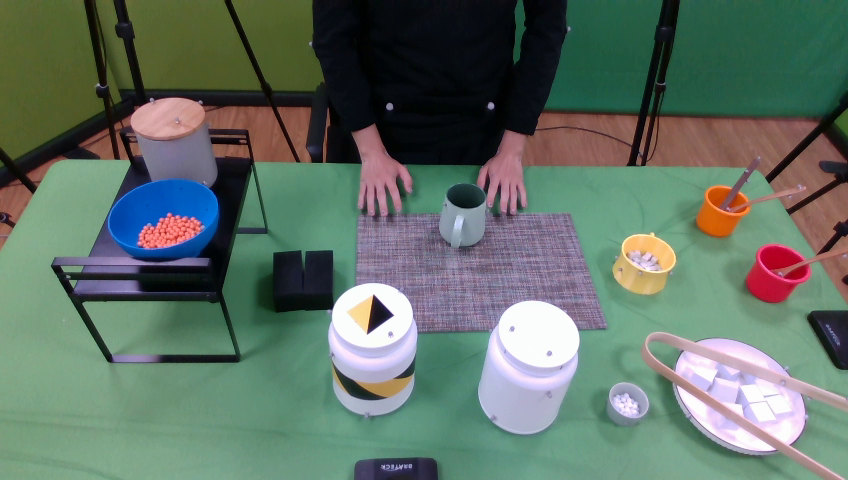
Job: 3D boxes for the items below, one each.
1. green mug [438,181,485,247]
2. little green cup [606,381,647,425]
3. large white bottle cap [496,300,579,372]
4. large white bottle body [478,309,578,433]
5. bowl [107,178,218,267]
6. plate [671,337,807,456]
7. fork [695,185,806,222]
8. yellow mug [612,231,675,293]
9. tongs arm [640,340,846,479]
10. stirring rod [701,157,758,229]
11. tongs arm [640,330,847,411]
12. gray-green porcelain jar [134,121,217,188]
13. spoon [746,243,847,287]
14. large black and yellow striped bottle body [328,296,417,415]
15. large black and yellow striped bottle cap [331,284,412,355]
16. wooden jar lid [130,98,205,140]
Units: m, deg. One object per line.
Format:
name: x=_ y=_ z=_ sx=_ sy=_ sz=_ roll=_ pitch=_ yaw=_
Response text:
green mug: x=0.071 y=-0.040 z=1.177 sx=0.092 sy=0.105 sz=0.124 roll=12 pitch=47 yaw=7
little green cup: x=0.319 y=0.261 z=0.962 sx=0.061 sy=0.039 sz=0.061 roll=2 pitch=45 yaw=-2
large white bottle cap: x=0.160 y=0.133 z=0.852 sx=0.115 sy=0.018 sz=0.114 roll=3 pitch=46 yaw=-2
large white bottle body: x=0.156 y=0.192 z=0.913 sx=0.131 sy=0.185 sz=0.130 roll=2 pitch=46 yaw=-2
bowl: x=-0.374 y=-0.014 z=0.893 sx=0.151 sy=0.077 sz=0.150 roll=2 pitch=46 yaw=-2
plate: x=0.503 y=0.254 z=0.984 sx=0.208 sy=0.039 sz=0.206 roll=2 pitch=46 yaw=-2
fork: x=0.658 y=-0.074 z=1.230 sx=0.207 sy=0.019 sz=0.028 roll=-23 pitch=36 yaw=37
yellow mug: x=0.424 y=0.033 z=1.168 sx=0.100 sy=0.064 sz=0.130 roll=18 pitch=47 yaw=14
tongs arm: x=0.500 y=0.277 z=0.919 sx=0.386 sy=0.028 sz=0.028 roll=34 pitch=59 yaw=22
stirring rod: x=0.634 y=-0.096 z=1.257 sx=0.014 sy=0.006 sz=0.176 roll=38 pitch=97 yaw=30
tongs arm: x=0.543 y=0.226 z=0.969 sx=0.384 sy=0.026 sz=0.050 roll=22 pitch=52 yaw=13
gray-green porcelain jar: x=-0.397 y=-0.141 z=0.980 sx=0.106 sy=0.127 sz=0.105 roll=2 pitch=47 yaw=-2
spoon: x=0.702 y=0.043 z=1.126 sx=0.194 sy=0.022 sz=0.041 roll=-29 pitch=38 yaw=30
large black and yellow striped bottle body: x=-0.078 y=0.167 z=0.920 sx=0.131 sy=0.185 sz=0.130 roll=2 pitch=46 yaw=-2
large black and yellow striped bottle cap: x=-0.073 y=0.111 z=0.858 sx=0.115 sy=0.019 sz=0.114 roll=2 pitch=46 yaw=-1
wooden jar lid: x=-0.393 y=-0.183 z=0.934 sx=0.108 sy=0.021 sz=0.107 roll=2 pitch=44 yaw=-2
